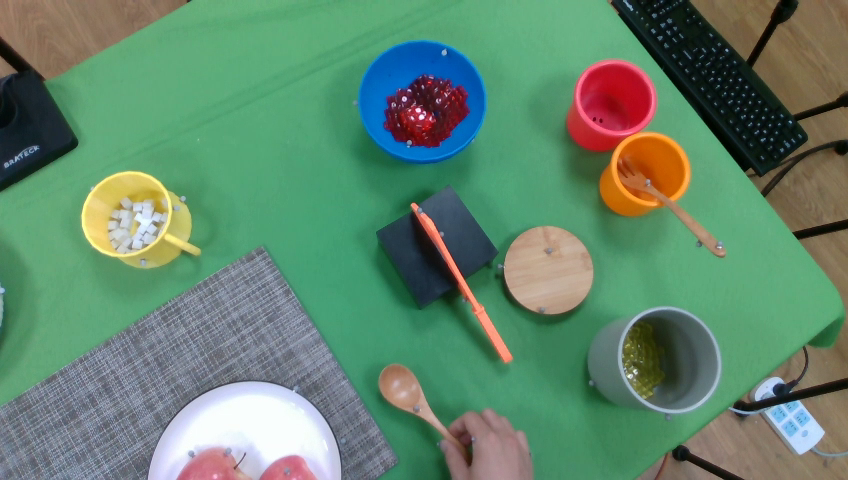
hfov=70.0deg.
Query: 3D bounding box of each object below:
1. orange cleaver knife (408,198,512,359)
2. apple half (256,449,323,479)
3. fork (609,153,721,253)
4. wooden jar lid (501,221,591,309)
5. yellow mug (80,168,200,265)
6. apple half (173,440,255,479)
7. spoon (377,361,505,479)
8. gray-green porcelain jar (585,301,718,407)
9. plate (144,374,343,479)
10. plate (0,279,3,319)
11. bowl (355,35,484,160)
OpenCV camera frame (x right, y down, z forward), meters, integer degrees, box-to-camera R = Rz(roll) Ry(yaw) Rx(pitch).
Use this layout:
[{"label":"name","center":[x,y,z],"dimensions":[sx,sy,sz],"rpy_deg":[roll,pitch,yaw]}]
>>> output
[{"label":"orange cleaver knife","center":[0.040,0.044,0.694],"dimensions":[0.012,0.077,0.212],"rpy_deg":[-32,105,-6]},{"label":"apple half","center":[-0.149,0.270,0.652],"dimensions":[0.081,0.033,0.081],"rpy_deg":[0,75,0]},{"label":"fork","center":[0.268,-0.048,0.686],"dimensions":[0.028,0.019,0.205],"rpy_deg":[-14,35,-9]},{"label":"wooden jar lid","center":[0.146,0.031,0.732],"dimensions":[0.108,0.021,0.108],"rpy_deg":[0,79,-1]},{"label":"yellow mug","center":[-0.318,-0.019,0.702],"dimensions":[0.131,0.064,0.099],"rpy_deg":[27,78,3]},{"label":"apple half","center":[-0.229,0.259,0.642],"dimensions":[0.074,0.053,0.080],"rpy_deg":[-36,82,-6]},{"label":"spoon","center":[0.021,0.208,0.671],"dimensions":[0.193,0.022,0.041],"rpy_deg":[42,60,12]},{"label":"gray-green porcelain jar","center":[0.239,0.126,0.662],"dimensions":[0.106,0.127,0.105],"rpy_deg":[0,78,-2]},{"label":"plate","center":[-0.192,0.252,0.660],"dimensions":[0.209,0.038,0.208],"rpy_deg":[1,79,-3]},{"label":"plate","center":[-0.579,0.080,0.685],"dimensions":[0.208,0.039,0.206],"rpy_deg":[0,78,-2]},{"label":"bowl","center":[-0.006,-0.160,0.736],"dimensions":[0.151,0.077,0.150],"rpy_deg":[0,79,-2]}]
